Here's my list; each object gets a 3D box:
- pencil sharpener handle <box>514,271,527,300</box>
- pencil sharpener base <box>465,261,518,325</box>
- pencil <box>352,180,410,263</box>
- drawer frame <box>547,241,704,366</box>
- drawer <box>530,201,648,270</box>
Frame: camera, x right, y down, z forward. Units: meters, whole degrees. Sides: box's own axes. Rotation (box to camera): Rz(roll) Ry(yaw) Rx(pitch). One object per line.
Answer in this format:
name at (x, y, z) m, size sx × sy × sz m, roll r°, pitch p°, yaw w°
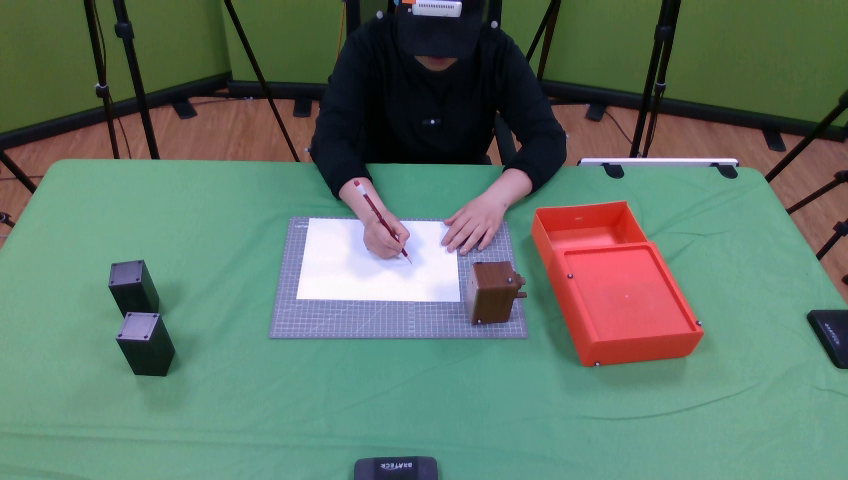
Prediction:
pencil sharpener handle at (0.169, 0.081, 1.051) m, size 0.031 × 0.068 × 0.035 m, roll -3°, pitch 48°, yaw -7°
pencil sharpener base at (0.117, 0.093, 1.052) m, size 0.077 × 0.107 × 0.061 m, roll -3°, pitch 46°, yaw -7°
pencil at (-0.076, -0.031, 1.125) m, size 0.012 × 0.195 × 0.012 m, roll -29°, pitch 21°, yaw 12°
drawer frame at (0.348, 0.106, 1.077) m, size 0.202 × 0.083 × 0.212 m, roll -4°, pitch 47°, yaw -9°
drawer at (0.329, 0.025, 1.159) m, size 0.195 × 0.073 × 0.210 m, roll -5°, pitch 46°, yaw -9°
